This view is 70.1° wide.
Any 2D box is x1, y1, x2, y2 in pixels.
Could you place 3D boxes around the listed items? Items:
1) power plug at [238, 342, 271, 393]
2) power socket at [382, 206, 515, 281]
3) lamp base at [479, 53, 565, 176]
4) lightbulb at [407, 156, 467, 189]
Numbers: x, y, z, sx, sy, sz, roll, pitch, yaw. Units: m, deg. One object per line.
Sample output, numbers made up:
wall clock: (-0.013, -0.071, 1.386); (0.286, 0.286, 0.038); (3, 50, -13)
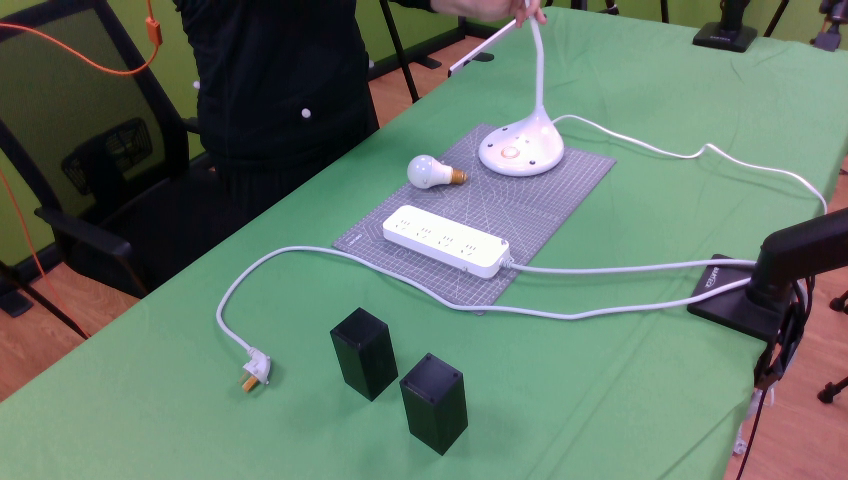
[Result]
power plug: (-0.230, 0.172, 0.801); (0.072, 0.035, 0.053); (9, 51, 50)
power socket: (0.032, 0.002, 0.950); (0.225, 0.033, 0.072); (21, 49, 29)
lamp base: (0.181, -0.235, 1.093); (0.159, 0.181, 0.179); (18, 44, 27)
lightbulb: (0.023, -0.117, 1.081); (0.108, 0.059, 0.059); (7, 40, -7)
